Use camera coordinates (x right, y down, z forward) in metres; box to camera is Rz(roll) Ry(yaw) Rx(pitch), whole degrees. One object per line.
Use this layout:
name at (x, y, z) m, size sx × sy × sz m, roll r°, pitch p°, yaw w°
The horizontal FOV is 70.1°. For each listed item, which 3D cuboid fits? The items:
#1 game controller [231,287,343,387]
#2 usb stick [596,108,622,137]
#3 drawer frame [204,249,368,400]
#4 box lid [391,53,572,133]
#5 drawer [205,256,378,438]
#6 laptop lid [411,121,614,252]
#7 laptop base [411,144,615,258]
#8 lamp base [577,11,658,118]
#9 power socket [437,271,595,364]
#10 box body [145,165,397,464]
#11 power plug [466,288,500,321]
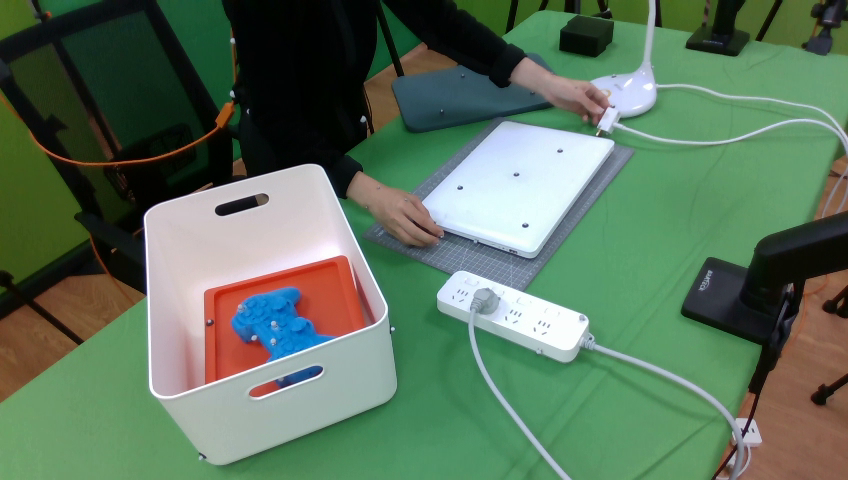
game controller at (-0.167, 0.110, 0.734) m, size 0.097 × 0.052 × 0.154 m, roll -35°, pitch 47°, yaw -22°
usb stick at (0.355, -0.223, 1.168) m, size 0.027 × 0.059 × 0.022 m, roll 37°, pitch 13°, yaw 35°
drawer frame at (-0.174, 0.129, 0.791) m, size 0.202 × 0.083 × 0.212 m, roll -16°, pitch 45°, yaw -8°
box lid at (0.123, -0.339, 1.366) m, size 0.372 × 0.015 × 0.261 m, roll -12°, pitch 40°, yaw -5°
drawer at (-0.177, 0.130, 0.787) m, size 0.195 × 0.073 × 0.210 m, roll -14°, pitch 39°, yaw -9°
laptop lid at (0.164, -0.112, 1.068) m, size 0.240 × 0.013 × 0.357 m, roll 19°, pitch 46°, yaw 30°
laptop base at (0.167, -0.102, 1.075) m, size 0.234 × 0.023 × 0.355 m, roll 16°, pitch 45°, yaw 30°
lamp base at (0.406, -0.363, 1.222) m, size 0.180 × 0.181 × 0.159 m, roll -20°, pitch 42°, yaw -18°
power socket at (0.118, 0.102, 0.830) m, size 0.225 × 0.033 × 0.072 m, roll 20°, pitch 48°, yaw 28°
box body at (-0.205, 0.080, 0.802) m, size 0.255 × 0.161 × 0.361 m, roll -18°, pitch 41°, yaw -13°
power plug at (0.072, 0.093, 0.813) m, size 0.035 × 0.053 × 0.073 m, roll 31°, pitch 55°, yaw 35°
